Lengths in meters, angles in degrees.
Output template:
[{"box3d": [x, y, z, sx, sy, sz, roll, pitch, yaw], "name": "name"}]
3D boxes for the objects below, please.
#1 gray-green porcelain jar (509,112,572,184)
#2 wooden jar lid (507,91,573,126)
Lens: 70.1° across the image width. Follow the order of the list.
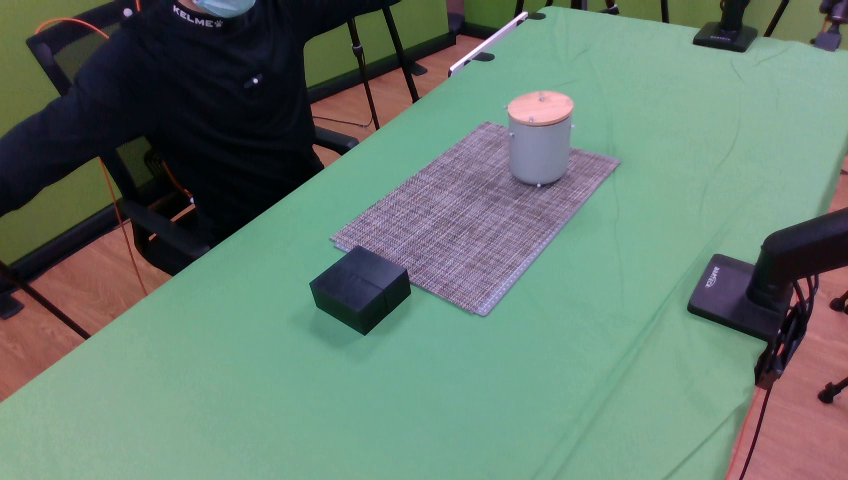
[{"box3d": [0.200, -0.169, 1.051, 0.106, 0.127, 0.105, -4, 41, 4], "name": "gray-green porcelain jar"}, {"box3d": [0.194, -0.216, 1.010, 0.108, 0.021, 0.108, -6, 40, 6], "name": "wooden jar lid"}]
